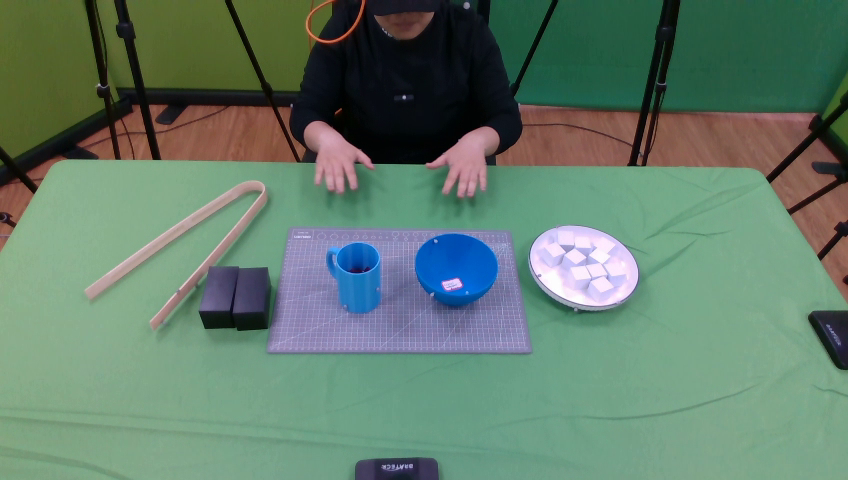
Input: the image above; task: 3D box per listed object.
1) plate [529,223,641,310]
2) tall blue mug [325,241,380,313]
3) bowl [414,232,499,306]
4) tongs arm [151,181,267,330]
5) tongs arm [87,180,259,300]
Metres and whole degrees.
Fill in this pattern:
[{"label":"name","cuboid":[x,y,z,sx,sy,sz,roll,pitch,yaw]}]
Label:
[{"label":"plate","cuboid":[0.303,0.053,1.156,0.209,0.038,0.208,2,46,-2]},{"label":"tall blue mug","cuboid":[-0.130,0.063,1.062,0.107,0.108,0.077,9,47,5]},{"label":"bowl","cuboid":[0.056,0.065,1.095,0.151,0.077,0.150,2,46,-2]},{"label":"tongs arm","cuboid":[-0.400,0.014,1.145,0.050,0.027,0.383,14,46,18]},{"label":"tongs arm","cuboid":[-0.473,-0.011,1.172,0.028,0.028,0.387,22,49,30]}]
